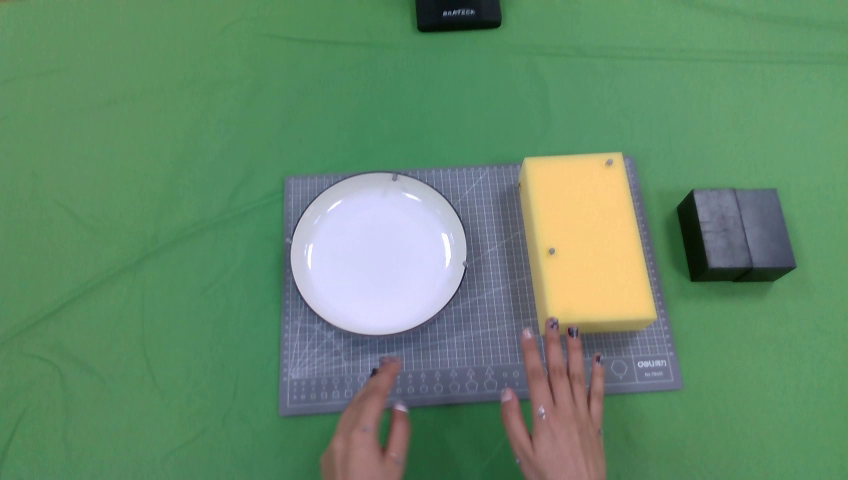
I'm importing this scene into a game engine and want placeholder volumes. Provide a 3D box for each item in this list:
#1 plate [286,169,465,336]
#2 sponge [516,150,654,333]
[{"bbox_3d":[-0.055,0.015,0.716,0.209,0.038,0.207,0,69,0],"label":"plate"},{"bbox_3d":[0.182,0.000,0.711,0.118,0.061,0.205,-5,69,-2],"label":"sponge"}]
